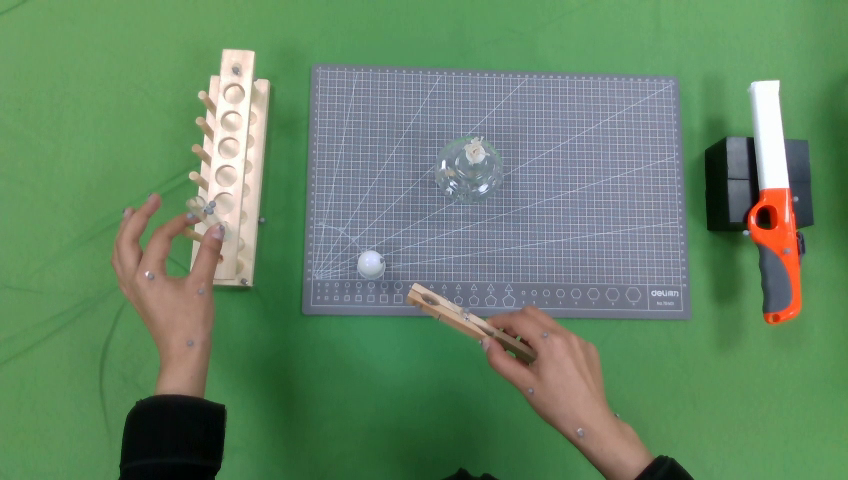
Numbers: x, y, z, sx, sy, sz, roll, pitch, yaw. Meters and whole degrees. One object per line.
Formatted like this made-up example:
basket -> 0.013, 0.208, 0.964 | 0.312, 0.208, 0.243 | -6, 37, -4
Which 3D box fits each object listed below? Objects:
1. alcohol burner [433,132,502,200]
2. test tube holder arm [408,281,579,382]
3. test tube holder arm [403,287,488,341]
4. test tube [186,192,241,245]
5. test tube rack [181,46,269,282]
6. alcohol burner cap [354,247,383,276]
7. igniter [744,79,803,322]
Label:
alcohol burner -> 0.049, -0.084, 0.661 | 0.078, 0.119, 0.077 | 0, 82, -3
test tube holder arm -> 0.064, 0.086, 0.570 | 0.178, 0.015, 0.013 | 27, 59, 4
test tube holder arm -> 0.021, 0.070, 0.570 | 0.088, 0.015, 0.010 | 26, 59, 4
test tube -> -0.205, -0.017, 0.601 | 0.017, 0.151, 0.017 | 1, 76, -4
test tube rack -> -0.220, -0.079, 0.659 | 0.067, 0.085, 0.241 | 3, 82, -3
alcohol burner cap -> -0.062, 0.022, 0.674 | 0.034, 0.048, 0.033 | 1, 82, -4
igniter -> 0.387, -0.047, 0.678 | 0.057, 0.025, 0.275 | -1, 81, 8
